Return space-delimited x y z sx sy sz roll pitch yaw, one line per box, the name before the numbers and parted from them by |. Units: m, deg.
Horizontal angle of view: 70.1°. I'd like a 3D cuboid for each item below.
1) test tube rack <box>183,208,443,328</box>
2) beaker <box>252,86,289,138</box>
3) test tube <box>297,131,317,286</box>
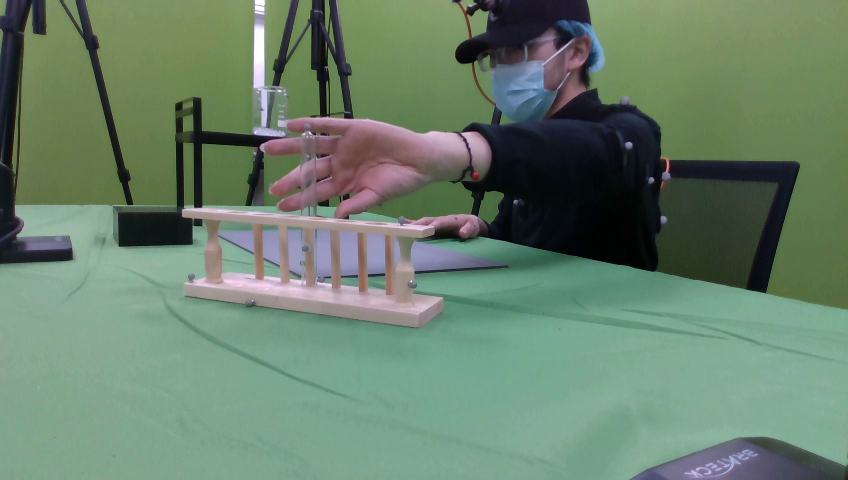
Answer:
test tube rack | -0.106 0.019 0.569 0.241 0.085 0.067 5 8 20
beaker | -0.319 -0.263 1.249 0.074 0.100 0.084 5 8 21
test tube | -0.114 -0.029 0.586 0.017 0.150 0.017 1 8 0
